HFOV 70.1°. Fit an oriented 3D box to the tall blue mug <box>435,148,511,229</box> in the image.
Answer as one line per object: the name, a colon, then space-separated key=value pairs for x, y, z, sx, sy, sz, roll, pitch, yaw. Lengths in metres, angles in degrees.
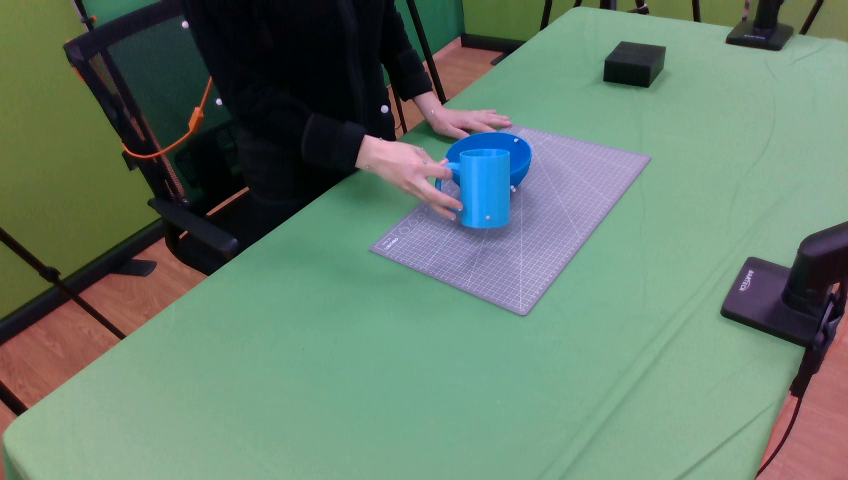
tall blue mug: x=0.078 y=-0.077 z=0.909 sx=0.108 sy=0.108 sz=0.077 roll=-9 pitch=19 yaw=-21

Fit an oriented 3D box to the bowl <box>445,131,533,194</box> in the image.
bowl: x=0.115 y=-0.119 z=1.056 sx=0.151 sy=0.077 sz=0.150 roll=-6 pitch=40 yaw=5
